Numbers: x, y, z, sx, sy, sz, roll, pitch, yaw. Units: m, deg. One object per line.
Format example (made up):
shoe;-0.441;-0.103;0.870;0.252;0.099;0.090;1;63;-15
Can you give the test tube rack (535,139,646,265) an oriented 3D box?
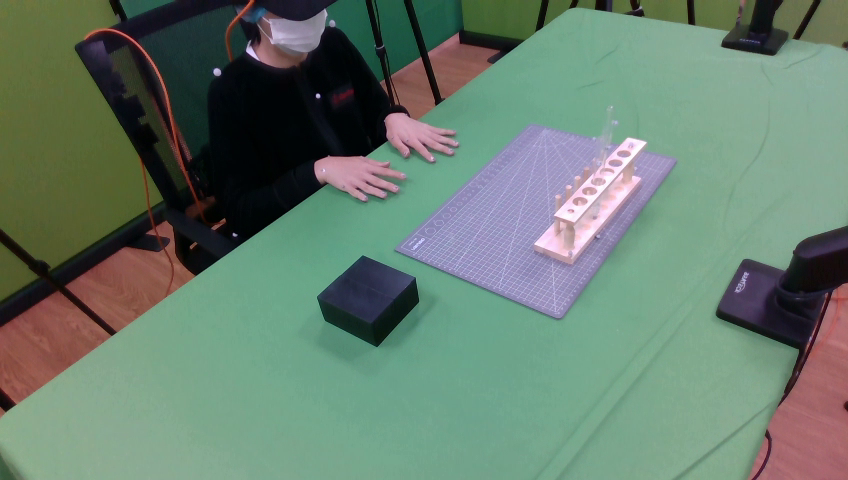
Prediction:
test tube rack;0.268;-0.071;0.964;0.066;0.085;0.243;23;49;32

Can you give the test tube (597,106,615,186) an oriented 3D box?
test tube;0.295;-0.150;0.984;0.017;0.151;0.017;-4;41;4

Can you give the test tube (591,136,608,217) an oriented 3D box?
test tube;0.264;-0.092;0.912;0.017;0.151;0.017;-5;44;6
